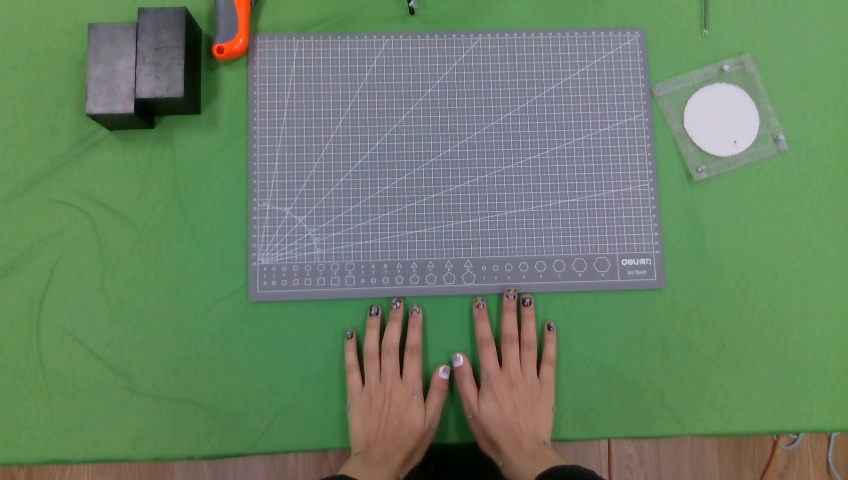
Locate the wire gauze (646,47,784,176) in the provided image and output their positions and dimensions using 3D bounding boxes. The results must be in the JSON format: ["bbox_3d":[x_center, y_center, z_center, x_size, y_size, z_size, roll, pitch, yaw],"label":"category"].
[{"bbox_3d":[0.332,-0.146,0.687,0.125,0.011,0.121,-19,84,-2],"label":"wire gauze"}]

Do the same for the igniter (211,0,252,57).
[{"bbox_3d":[-0.217,-0.338,0.683,0.057,0.025,0.275,1,83,-17],"label":"igniter"}]

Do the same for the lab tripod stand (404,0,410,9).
[{"bbox_3d":[-0.058,-0.334,0.635,0.148,0.132,0.148,0,81,0],"label":"lab tripod stand"}]

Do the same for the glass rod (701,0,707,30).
[{"bbox_3d":[0.328,-0.343,0.711,0.008,0.008,0.199,3,83,-2],"label":"glass rod"}]
